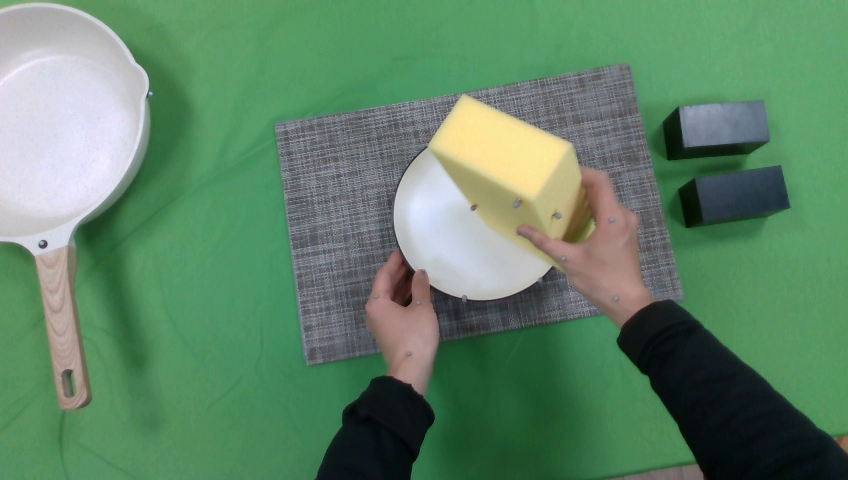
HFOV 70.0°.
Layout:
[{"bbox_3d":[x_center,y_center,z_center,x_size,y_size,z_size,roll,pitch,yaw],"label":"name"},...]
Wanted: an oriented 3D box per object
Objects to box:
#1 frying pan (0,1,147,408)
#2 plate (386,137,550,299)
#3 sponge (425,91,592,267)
[{"bbox_3d":[-0.441,-0.044,0.702,0.307,0.103,0.484,-18,73,0],"label":"frying pan"},{"bbox_3d":[0.060,-0.032,0.716,0.207,0.039,0.207,0,82,1],"label":"plate"},{"bbox_3d":[0.095,-0.053,0.614,0.117,0.209,0.061,30,84,28],"label":"sponge"}]
